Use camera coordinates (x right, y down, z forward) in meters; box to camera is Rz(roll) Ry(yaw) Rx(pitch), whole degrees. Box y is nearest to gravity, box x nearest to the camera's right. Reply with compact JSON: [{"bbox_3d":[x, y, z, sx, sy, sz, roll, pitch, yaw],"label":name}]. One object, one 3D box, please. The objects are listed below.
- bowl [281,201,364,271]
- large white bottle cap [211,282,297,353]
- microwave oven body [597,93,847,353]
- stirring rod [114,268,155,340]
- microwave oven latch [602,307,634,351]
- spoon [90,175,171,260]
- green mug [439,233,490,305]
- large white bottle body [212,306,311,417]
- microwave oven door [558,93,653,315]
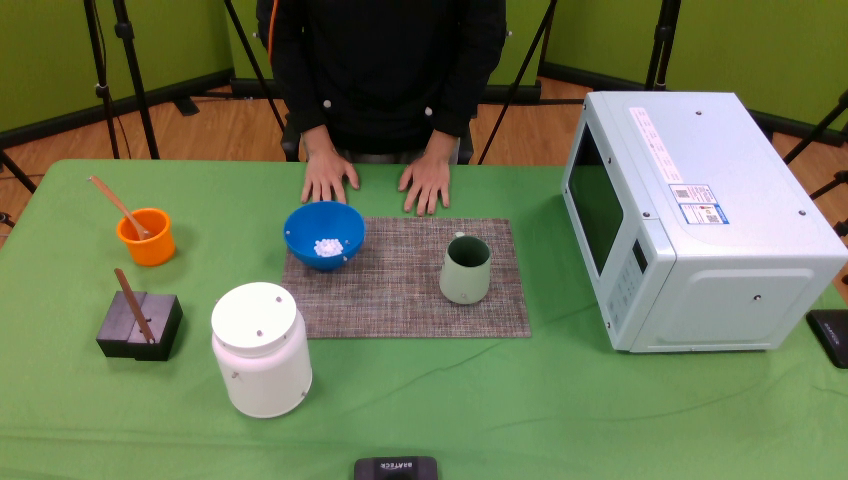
[{"bbox_3d":[-0.187,0.005,1.138,0.151,0.077,0.150,3,46,-3],"label":"bowl"},{"bbox_3d":[-0.237,0.106,0.846,0.115,0.018,0.114,2,45,-2],"label":"large white bottle cap"},{"bbox_3d":[0.475,-0.041,1.109,0.326,0.261,0.438,-1,45,-4],"label":"microwave oven body"},{"bbox_3d":[-0.479,0.103,0.999,0.014,0.006,0.175,7,32,-49],"label":"stirring rod"},{"bbox_3d":[0.332,0.153,1.044,0.030,0.029,0.078,-1,45,-4],"label":"microwave oven latch"},{"bbox_3d":[-0.539,-0.042,1.111,0.021,0.194,0.041,-13,27,52],"label":"spoon"},{"bbox_3d":[0.071,0.044,1.102,0.092,0.105,0.124,-6,46,-9],"label":"green mug"},{"bbox_3d":[-0.241,0.165,0.907,0.131,0.185,0.130,2,45,-2],"label":"large white bottle body"},{"bbox_3d":[0.327,-0.074,1.123,0.039,0.245,0.353,0,46,-5],"label":"microwave oven door"}]
